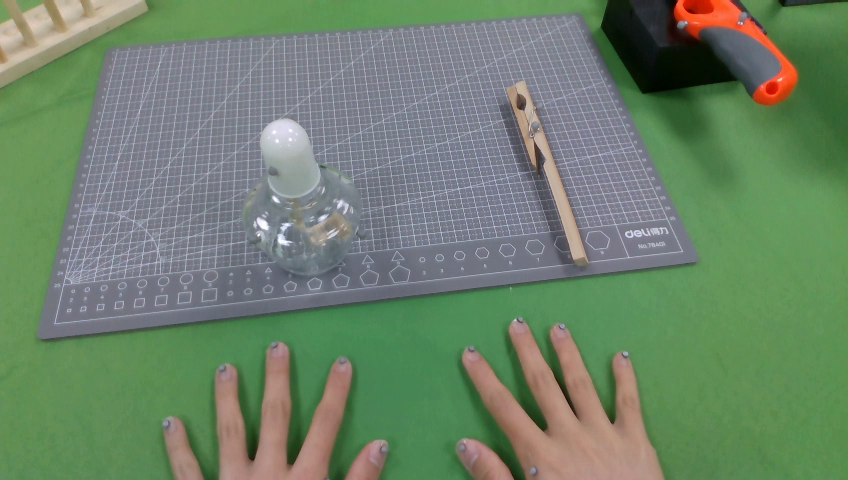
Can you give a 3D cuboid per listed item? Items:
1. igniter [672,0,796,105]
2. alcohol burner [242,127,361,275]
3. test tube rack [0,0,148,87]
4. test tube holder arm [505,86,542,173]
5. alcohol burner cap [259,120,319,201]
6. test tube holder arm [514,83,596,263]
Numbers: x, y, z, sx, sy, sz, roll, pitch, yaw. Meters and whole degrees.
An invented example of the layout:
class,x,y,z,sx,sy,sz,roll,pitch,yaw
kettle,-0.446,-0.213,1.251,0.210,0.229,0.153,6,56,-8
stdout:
class,x,y,z,sx,sy,sz,roll,pitch,yaw
igniter,0.232,-0.209,0.522,0.057,0.025,0.273,-12,54,-7
alcohol burner,-0.081,-0.030,0.388,0.078,0.120,0.077,0,56,0
test tube rack,-0.372,-0.192,0.516,0.066,0.086,0.242,36,61,22
test tube holder arm,0.084,-0.092,0.497,0.010,0.015,0.087,-30,53,23
alcohol burner cap,-0.082,-0.050,0.359,0.034,0.048,0.033,1,57,-1
test tube holder arm,0.098,-0.058,0.470,0.013,0.015,0.176,-31,53,22
